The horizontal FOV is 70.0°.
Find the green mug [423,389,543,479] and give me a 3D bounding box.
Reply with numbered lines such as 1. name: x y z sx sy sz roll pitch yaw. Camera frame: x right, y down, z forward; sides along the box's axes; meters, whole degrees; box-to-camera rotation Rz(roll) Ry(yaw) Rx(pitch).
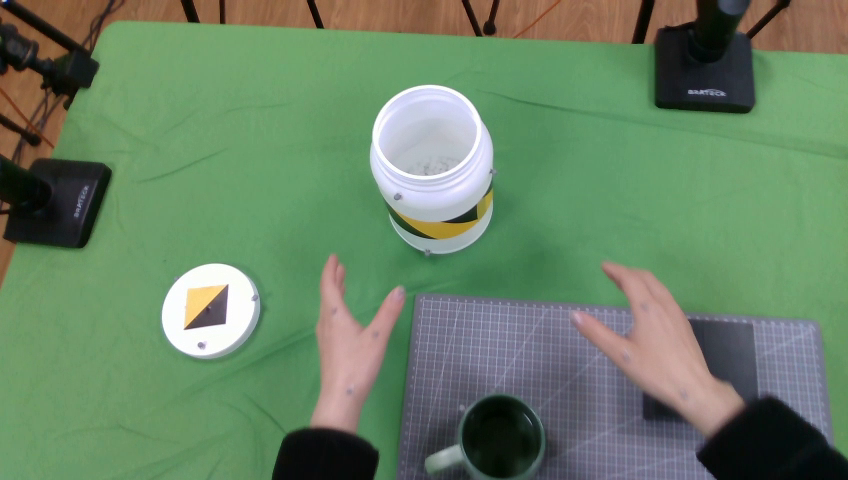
1. green mug: 0.059 0.201 0.605 0.125 0.105 0.092 -21 69 -2

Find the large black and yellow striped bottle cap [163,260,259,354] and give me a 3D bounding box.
1. large black and yellow striped bottle cap: -0.258 0.080 0.730 0.115 0.019 0.114 -2 69 5

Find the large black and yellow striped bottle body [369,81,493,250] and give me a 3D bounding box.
1. large black and yellow striped bottle body: 0.012 -0.078 0.672 0.130 0.185 0.130 -2 69 5
